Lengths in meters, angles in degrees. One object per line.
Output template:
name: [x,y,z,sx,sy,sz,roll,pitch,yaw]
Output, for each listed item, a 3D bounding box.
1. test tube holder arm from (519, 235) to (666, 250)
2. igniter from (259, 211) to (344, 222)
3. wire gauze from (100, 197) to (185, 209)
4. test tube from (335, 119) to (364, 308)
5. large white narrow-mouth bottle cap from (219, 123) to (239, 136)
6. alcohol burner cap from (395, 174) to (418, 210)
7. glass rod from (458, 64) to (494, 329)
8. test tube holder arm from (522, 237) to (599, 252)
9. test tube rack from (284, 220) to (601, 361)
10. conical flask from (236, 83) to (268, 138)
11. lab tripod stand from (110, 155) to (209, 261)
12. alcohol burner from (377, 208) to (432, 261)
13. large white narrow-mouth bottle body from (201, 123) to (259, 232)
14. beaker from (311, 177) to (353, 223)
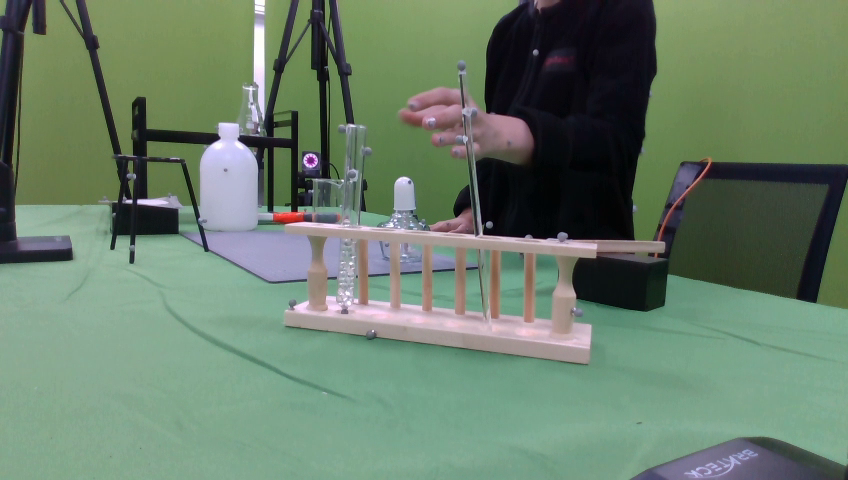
test tube holder arm: [0.186,0.003,0.655,0.179,0.015,0.013,-1,15,-19]
igniter: [-0.302,-0.047,1.249,0.278,0.025,0.057,-2,-2,-27]
wire gauze: [-0.469,-0.062,1.008,0.126,0.011,0.121,-2,8,-25]
test tube: [-0.059,-0.019,0.475,0.017,0.150,0.017,5,10,-1]
large white narrow-mouth bottle cap: [-0.356,-0.201,1.104,0.038,0.024,0.037,2,8,0]
alcohol burner cap: [-0.025,-0.067,0.834,0.034,0.048,0.034,-2,12,1]
glass rod: [0.039,-0.029,0.449,0.008,0.199,0.008,-7,9,1]
test tube holder arm: [0.144,0.004,0.635,0.088,0.015,0.010,-1,15,-19]
test tube rack: [0.013,0.032,0.482,0.242,0.085,0.067,4,7,16]
conical flask: [-0.399,-0.298,1.396,0.075,0.122,0.075,2,8,0]
lab tripod stand: [-0.361,-0.046,0.806,0.148,0.131,0.148,2,5,0]
alcohol burner: [-0.027,-0.031,0.838,0.078,0.119,0.078,0,6,0]
large white narrow-mouth bottle body: [-0.358,-0.116,1.116,0.102,0.194,0.102,2,8,0]
beaker: [-0.167,-0.064,1.106,0.074,0.100,0.083,-2,9,-27]
